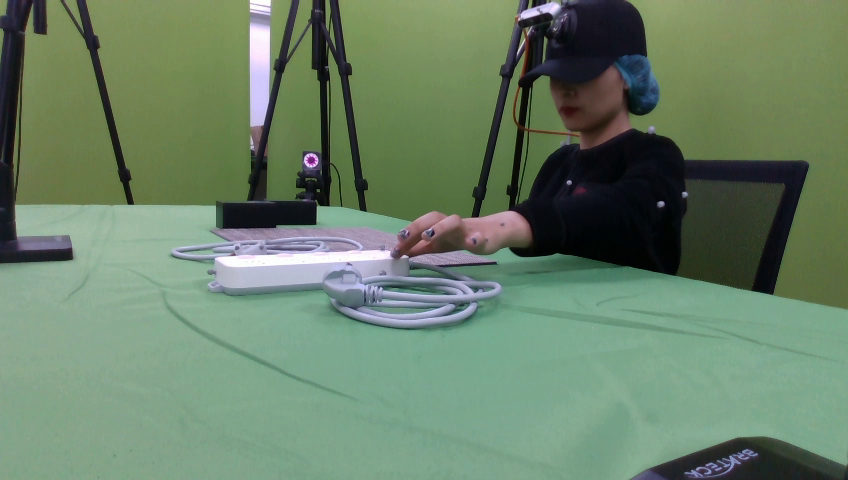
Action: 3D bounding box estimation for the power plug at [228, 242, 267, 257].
[{"bbox_3d":[-0.217,0.024,0.737,0.053,0.035,0.072,-23,-5,-9],"label":"power plug"}]

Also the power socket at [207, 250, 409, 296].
[{"bbox_3d":[-0.119,0.033,0.668,0.228,0.032,0.072,-2,9,-31],"label":"power socket"}]
